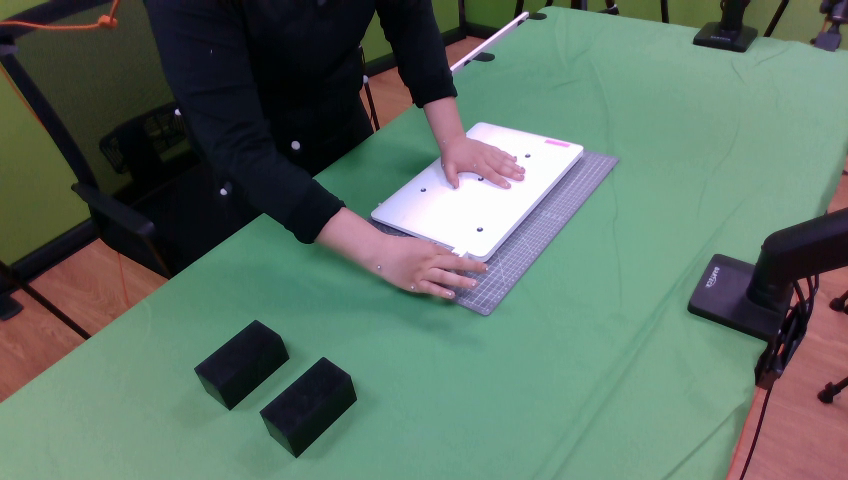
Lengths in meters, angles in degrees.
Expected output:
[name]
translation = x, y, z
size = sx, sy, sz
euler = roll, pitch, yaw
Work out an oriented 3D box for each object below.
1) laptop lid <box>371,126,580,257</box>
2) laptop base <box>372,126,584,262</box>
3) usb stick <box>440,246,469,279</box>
[laptop lid]
translation = 0.100, -0.103, 1.066
size = 0.239, 0.013, 0.358
euler = 21, 47, 33
[laptop base]
translation = 0.103, -0.096, 1.071
size = 0.233, 0.023, 0.355
euler = 19, 46, 33
[usb stick]
translation = 0.051, 0.030, 0.914
size = 0.021, 0.027, 0.059
euler = 28, 53, 31
